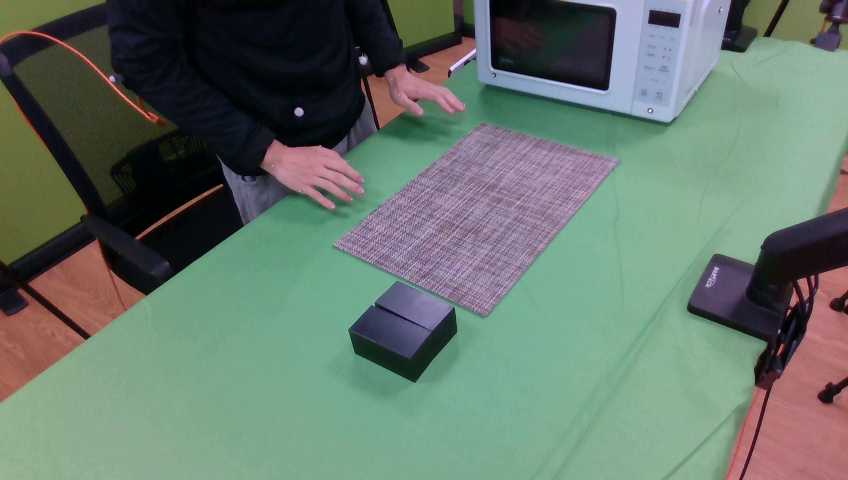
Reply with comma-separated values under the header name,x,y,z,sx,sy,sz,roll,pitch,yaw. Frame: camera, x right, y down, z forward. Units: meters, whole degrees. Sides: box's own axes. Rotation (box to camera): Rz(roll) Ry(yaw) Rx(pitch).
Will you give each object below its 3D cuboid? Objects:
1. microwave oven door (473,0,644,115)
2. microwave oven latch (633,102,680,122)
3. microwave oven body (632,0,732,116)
name,x,y,z,sx,sy,sz,roll,pitch,yaw
microwave oven door,0.257,-0.396,1.199,0.353,0.245,0.039,21,48,29
microwave oven latch,0.444,-0.249,1.157,0.078,0.029,0.030,21,49,30
microwave oven body,0.377,-0.462,1.267,0.438,0.261,0.327,21,48,30
